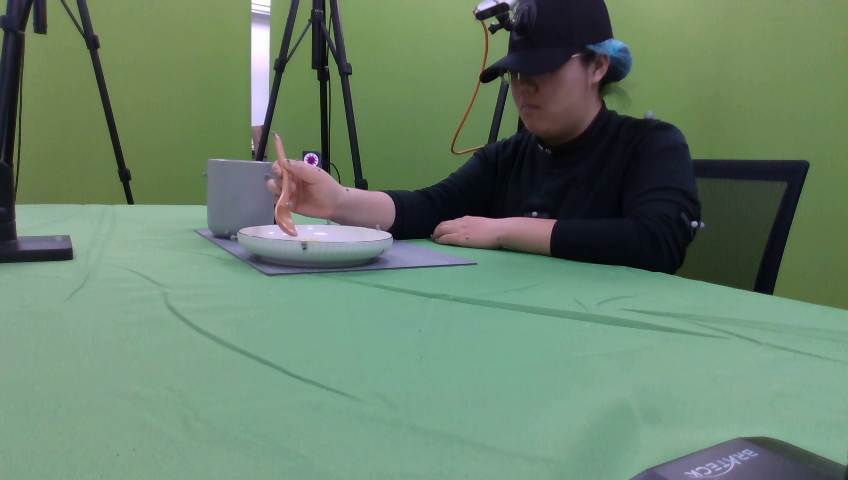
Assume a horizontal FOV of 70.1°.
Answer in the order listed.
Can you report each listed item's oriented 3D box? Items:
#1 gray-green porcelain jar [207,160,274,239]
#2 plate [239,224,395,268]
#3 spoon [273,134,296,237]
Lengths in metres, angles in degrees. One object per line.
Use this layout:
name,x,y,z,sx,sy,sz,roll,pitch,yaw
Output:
gray-green porcelain jar,-0.304,-0.068,1.003,0.106,0.126,0.106,3,7,0
plate,-0.144,0.007,0.823,0.208,0.039,0.207,3,7,0
spoon,-0.201,-0.081,0.860,0.021,0.193,0.042,-25,-36,19
